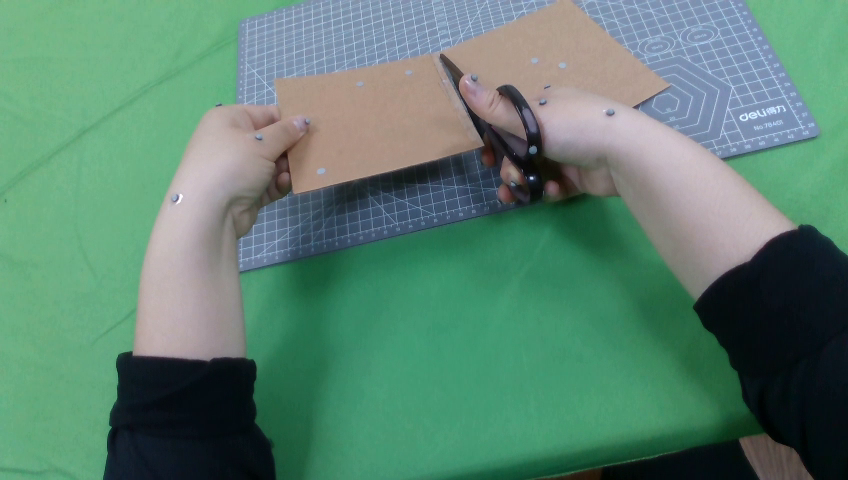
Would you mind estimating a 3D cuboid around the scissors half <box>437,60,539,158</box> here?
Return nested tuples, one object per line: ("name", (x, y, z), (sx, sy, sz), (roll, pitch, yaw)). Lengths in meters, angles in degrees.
("scissors half", (0.039, -0.105, 0.436), (0.013, 0.040, 0.173), (-17, 33, -11))

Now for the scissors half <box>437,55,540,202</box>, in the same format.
("scissors half", (0.042, -0.090, 0.451), (0.013, 0.040, 0.173), (-21, 55, -7))

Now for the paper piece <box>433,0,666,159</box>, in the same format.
("paper piece", (0.098, -0.138, 0.490), (0.135, 0.004, 0.134), (-28, 62, -12))

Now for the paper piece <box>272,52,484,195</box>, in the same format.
("paper piece", (-0.041, -0.095, 0.454), (0.138, 0.009, 0.134), (-15, 44, -5))
